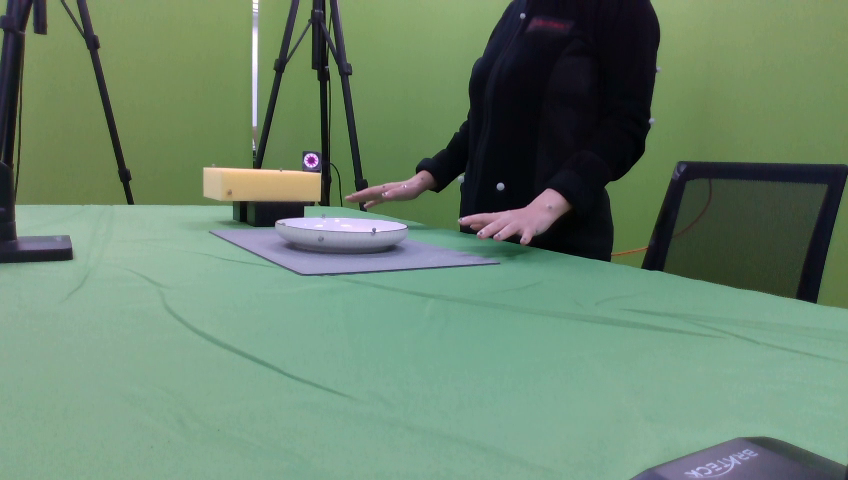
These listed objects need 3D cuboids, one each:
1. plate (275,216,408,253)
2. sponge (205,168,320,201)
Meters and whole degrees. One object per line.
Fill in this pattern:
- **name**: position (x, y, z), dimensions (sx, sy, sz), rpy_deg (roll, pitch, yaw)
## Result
- **plate**: position (-0.129, -0.009, 0.954), dimensions (0.209, 0.038, 0.209), rpy_deg (2, 7, 0)
- **sponge**: position (-0.332, -0.114, 1.247), dimensions (0.208, 0.061, 0.117), rpy_deg (-3, 9, -37)
